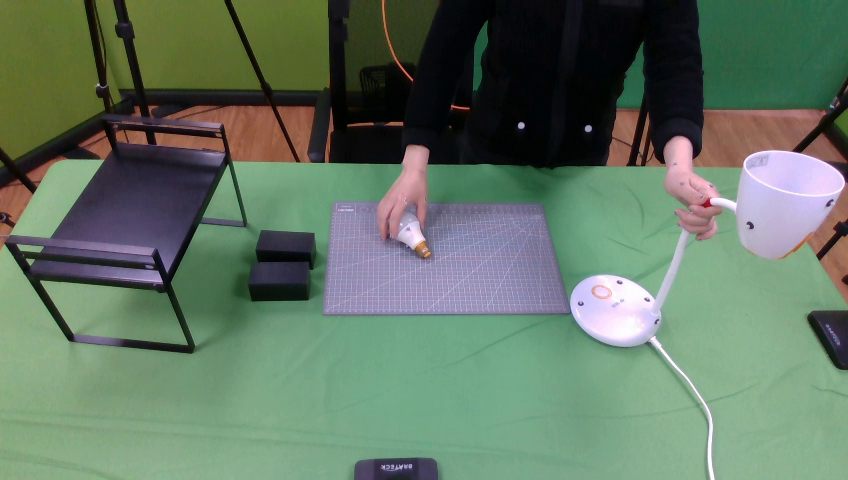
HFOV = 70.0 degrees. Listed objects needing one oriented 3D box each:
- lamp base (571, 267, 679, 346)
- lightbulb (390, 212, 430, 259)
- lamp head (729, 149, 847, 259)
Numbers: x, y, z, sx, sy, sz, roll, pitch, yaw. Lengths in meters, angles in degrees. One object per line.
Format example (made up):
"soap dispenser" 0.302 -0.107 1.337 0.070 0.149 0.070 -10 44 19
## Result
"lamp base" 0.360 0.077 1.037 0.160 0.181 0.178 -35 59 -31
"lightbulb" -0.023 -0.008 1.180 0.059 0.060 0.107 -26 69 -26
"lamp head" 0.440 -0.040 0.758 0.112 0.123 0.111 1 41 -1
